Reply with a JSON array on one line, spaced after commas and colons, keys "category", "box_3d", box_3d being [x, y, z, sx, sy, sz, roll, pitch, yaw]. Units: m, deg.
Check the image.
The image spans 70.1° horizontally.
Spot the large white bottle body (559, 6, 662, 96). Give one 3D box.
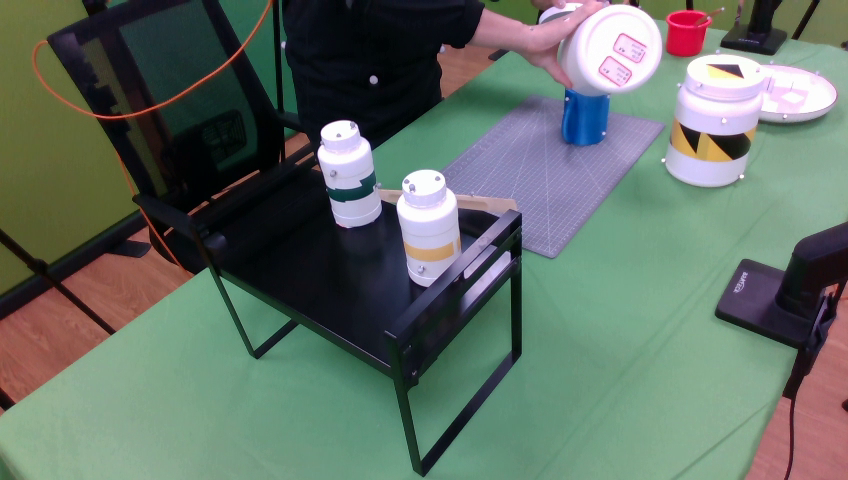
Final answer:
[{"category": "large white bottle body", "box_3d": [0.298, -0.306, 1.001, 0.130, 0.130, 0.184, -6, 12, 2]}]

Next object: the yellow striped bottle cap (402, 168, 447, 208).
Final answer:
[{"category": "yellow striped bottle cap", "box_3d": [0.001, -0.052, 0.604, 0.044, 0.019, 0.044, -5, 43, 5]}]

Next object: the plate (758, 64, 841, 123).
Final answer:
[{"category": "plate", "box_3d": [0.695, -0.283, 1.189, 0.207, 0.039, 0.206, -4, 40, 4]}]

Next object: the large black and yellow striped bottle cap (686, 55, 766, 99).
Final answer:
[{"category": "large black and yellow striped bottle cap", "box_3d": [0.474, -0.258, 0.952, 0.115, 0.019, 0.114, -5, 41, 5]}]

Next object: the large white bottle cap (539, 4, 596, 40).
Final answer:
[{"category": "large white bottle cap", "box_3d": [0.288, -0.433, 1.206, 0.114, 0.115, 0.018, 2, 83, 11]}]

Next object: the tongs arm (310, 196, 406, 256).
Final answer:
[{"category": "tongs arm", "box_3d": [-0.078, -0.012, 0.944, 0.028, 0.028, 0.384, -43, 39, -23]}]

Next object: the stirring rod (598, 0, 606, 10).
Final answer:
[{"category": "stirring rod", "box_3d": [0.437, -0.551, 1.462, 0.014, 0.006, 0.175, -11, 83, 1]}]

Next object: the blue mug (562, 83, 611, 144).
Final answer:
[{"category": "blue mug", "box_3d": [0.298, -0.240, 1.143, 0.117, 0.106, 0.081, -37, 48, -29]}]

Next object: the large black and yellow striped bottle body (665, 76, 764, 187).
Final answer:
[{"category": "large black and yellow striped bottle body", "box_3d": [0.482, -0.196, 1.008, 0.131, 0.185, 0.130, -4, 41, 4]}]

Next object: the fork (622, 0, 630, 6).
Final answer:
[{"category": "fork", "box_3d": [0.480, -0.556, 1.453, 0.028, 0.019, 0.207, 41, 103, 40]}]

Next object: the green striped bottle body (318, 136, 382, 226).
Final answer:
[{"category": "green striped bottle body", "box_3d": [-0.090, -0.080, 0.733, 0.063, 0.120, 0.063, -5, 41, 4]}]

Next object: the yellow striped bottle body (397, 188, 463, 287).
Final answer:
[{"category": "yellow striped bottle body", "box_3d": [0.007, -0.013, 0.638, 0.063, 0.121, 0.062, -5, 41, 4]}]

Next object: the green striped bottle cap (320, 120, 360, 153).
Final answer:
[{"category": "green striped bottle cap", "box_3d": [-0.097, -0.120, 0.699, 0.044, 0.020, 0.044, -3, 40, 3]}]

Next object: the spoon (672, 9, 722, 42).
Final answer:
[{"category": "spoon", "box_3d": [0.606, -0.476, 1.345, 0.042, 0.021, 0.193, -6, -3, -2]}]

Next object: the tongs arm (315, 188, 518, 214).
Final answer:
[{"category": "tongs arm", "box_3d": [-0.028, -0.060, 0.988, 0.382, 0.027, 0.051, 9, 45, 36]}]
